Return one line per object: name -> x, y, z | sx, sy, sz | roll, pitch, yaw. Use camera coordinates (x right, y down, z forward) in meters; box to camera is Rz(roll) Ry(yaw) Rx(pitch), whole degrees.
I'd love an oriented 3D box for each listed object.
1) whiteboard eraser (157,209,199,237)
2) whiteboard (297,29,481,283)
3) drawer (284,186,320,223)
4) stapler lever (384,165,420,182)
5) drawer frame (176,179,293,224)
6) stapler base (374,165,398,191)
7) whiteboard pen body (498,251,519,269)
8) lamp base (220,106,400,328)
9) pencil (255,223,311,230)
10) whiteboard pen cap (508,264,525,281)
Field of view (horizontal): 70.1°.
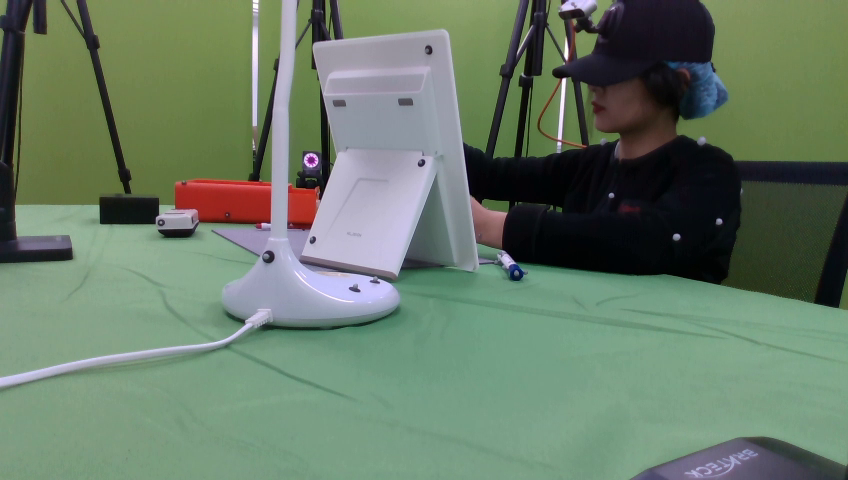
whiteboard eraser -> -0.411, -0.029, 1.016 | 0.056, 0.042, 0.112 | 2, 7, -16
whiteboard -> -0.075, -0.082, 0.741 | 0.216, 0.305, 0.144 | 9, 29, 37
drawer -> -0.333, -0.083, 1.310 | 0.212, 0.073, 0.194 | 1, 8, -8
stapler lever -> -0.041, -0.125, 1.129 | 0.040, 0.027, 0.117 | -14, 14, -16
drawer frame -> -0.395, -0.086, 1.299 | 0.214, 0.082, 0.201 | 1, 8, -9
stapler base -> -0.064, -0.118, 1.122 | 0.024, 0.041, 0.130 | -14, 14, -16
whiteboard pen body -> 0.116, 0.032, 0.810 | 0.017, 0.017, 0.140 | 2, 8, -1
lamp base -> -0.101, -0.023, 0.531 | 0.160, 0.180, 0.179 | 4, 10, 10
pencil -> -0.216, -0.022, 1.134 | 0.195, 0.012, 0.012 | 2, 7, -22
whiteboard pen cap -> 0.115, 0.039, 0.752 | 0.018, 0.018, 0.033 | 2, 9, 0
